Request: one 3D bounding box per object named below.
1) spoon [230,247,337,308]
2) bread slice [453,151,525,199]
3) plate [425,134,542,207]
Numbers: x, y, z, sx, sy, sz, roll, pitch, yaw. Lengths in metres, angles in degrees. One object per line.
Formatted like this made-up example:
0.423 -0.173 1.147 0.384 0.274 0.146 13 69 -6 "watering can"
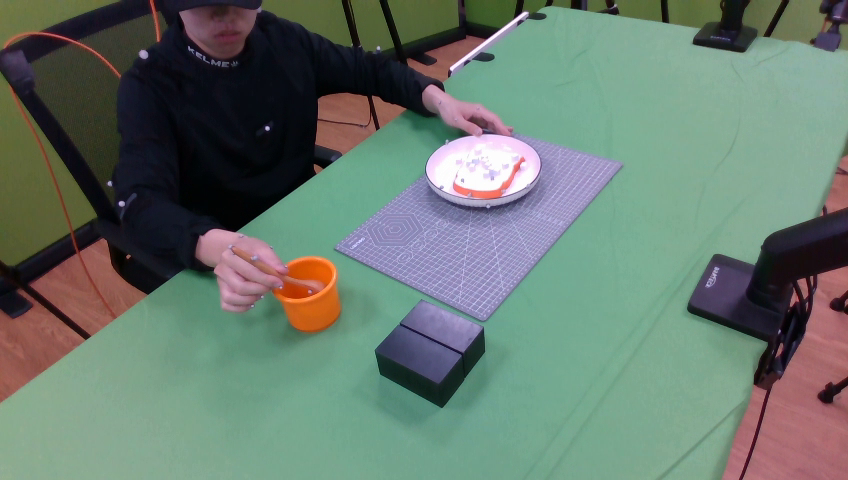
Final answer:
-0.182 0.052 0.810 0.021 0.195 0.041 -52 47 7 "spoon"
0.112 -0.118 1.079 0.104 0.019 0.131 11 42 21 "bread slice"
0.106 -0.121 1.079 0.209 0.038 0.208 -4 40 4 "plate"
